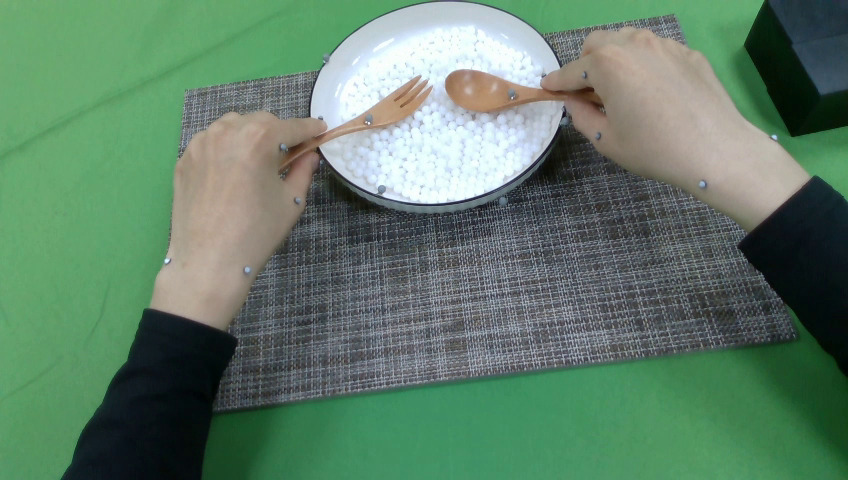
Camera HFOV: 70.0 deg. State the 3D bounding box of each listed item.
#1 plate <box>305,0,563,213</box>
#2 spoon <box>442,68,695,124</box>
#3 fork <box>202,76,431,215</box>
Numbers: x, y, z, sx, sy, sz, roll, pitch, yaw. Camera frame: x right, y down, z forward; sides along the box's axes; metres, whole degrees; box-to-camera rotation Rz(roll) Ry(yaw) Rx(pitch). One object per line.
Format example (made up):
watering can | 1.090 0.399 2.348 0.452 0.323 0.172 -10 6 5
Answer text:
plate | 0.008 -0.110 0.499 0.209 0.038 0.207 -3 64 6
spoon | 0.106 -0.108 0.467 0.193 0.022 0.041 12 61 21
fork | -0.081 -0.076 0.478 0.207 0.019 0.028 -32 62 -18
